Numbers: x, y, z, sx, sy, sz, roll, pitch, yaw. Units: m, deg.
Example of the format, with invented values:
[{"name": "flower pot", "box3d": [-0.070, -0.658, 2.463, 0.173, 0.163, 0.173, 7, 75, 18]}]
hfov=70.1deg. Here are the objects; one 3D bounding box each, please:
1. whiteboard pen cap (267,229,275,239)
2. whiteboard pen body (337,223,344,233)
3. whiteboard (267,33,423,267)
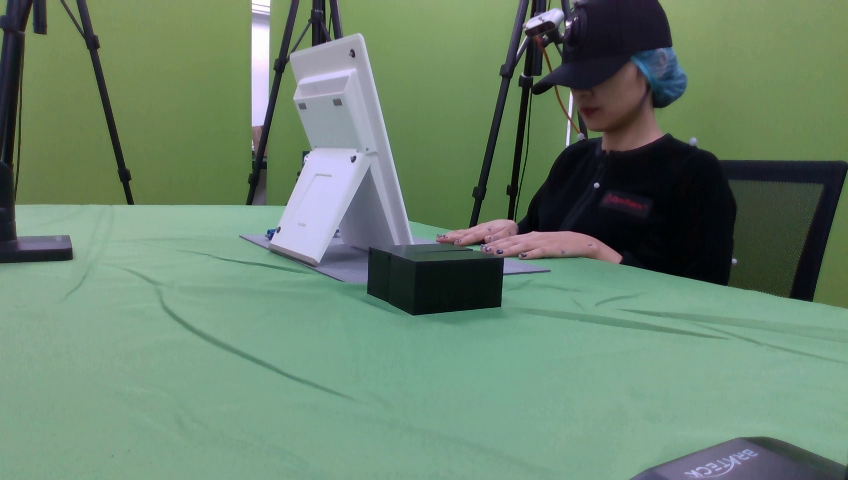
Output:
[{"name": "whiteboard pen cap", "box3d": [-0.240, -0.010, 0.996, 0.033, 0.018, 0.018, -6, 10, -38]}, {"name": "whiteboard pen body", "box3d": [-0.195, -0.016, 1.034, 0.141, 0.017, 0.017, -6, 10, -40]}, {"name": "whiteboard", "box3d": [-0.153, -0.097, 0.819, 0.144, 0.305, 0.216, -25, 21, -29]}]
